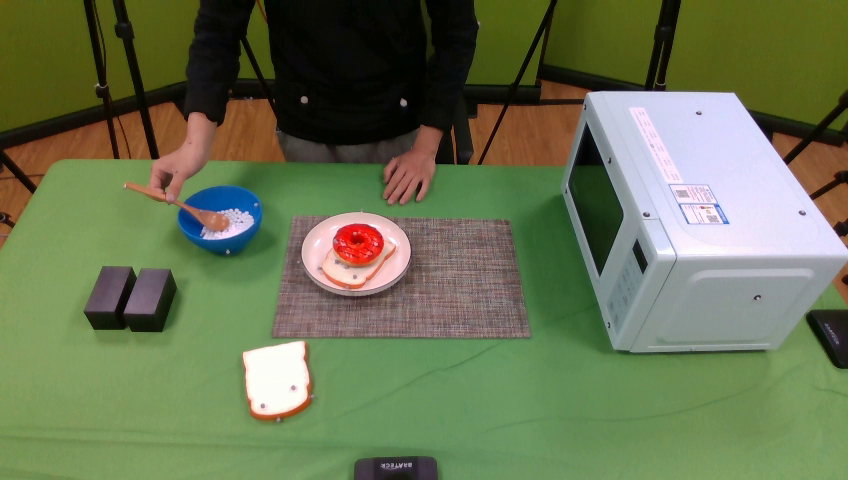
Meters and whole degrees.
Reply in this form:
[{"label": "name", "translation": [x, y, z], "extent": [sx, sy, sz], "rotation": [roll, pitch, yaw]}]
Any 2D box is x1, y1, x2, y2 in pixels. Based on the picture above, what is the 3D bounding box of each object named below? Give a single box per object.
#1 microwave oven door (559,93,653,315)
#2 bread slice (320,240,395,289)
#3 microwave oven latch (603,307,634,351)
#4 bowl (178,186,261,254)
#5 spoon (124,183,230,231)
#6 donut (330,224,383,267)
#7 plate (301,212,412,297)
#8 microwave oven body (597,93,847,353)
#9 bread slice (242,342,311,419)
[{"label": "microwave oven door", "translation": [0.327, -0.074, 1.123], "extent": [0.039, 0.245, 0.353], "rotation": [-1, 46, -5]}, {"label": "bread slice", "translation": [-0.129, 0.037, 1.141], "extent": [0.107, 0.018, 0.134], "rotation": [19, 47, 14]}, {"label": "microwave oven latch", "translation": [0.332, 0.153, 1.044], "extent": [0.030, 0.029, 0.078], "rotation": [0, 45, -4]}, {"label": "bowl", "translation": [-0.383, -0.026, 1.158], "extent": [0.151, 0.077, 0.150], "rotation": [2, 46, -2]}, {"label": "spoon", "translation": [-0.452, -0.064, 1.119], "extent": [0.195, 0.021, 0.041], "rotation": [28, 44, -33]}, {"label": "donut", "translation": [-0.125, 0.010, 1.127], "extent": [0.099, 0.048, 0.098], "rotation": [3, 45, -3]}, {"label": "plate", "translation": [-0.126, 0.031, 1.145], "extent": [0.208, 0.039, 0.206], "rotation": [2, 46, -2]}, {"label": "microwave oven body", "translation": [0.475, -0.041, 1.109], "extent": [0.326, 0.261, 0.438], "rotation": [-1, 45, -4]}, {"label": "bread slice", "translation": [-0.233, 0.223, 0.970], "extent": [0.105, 0.019, 0.130], "rotation": [-10, 46, -12]}]
